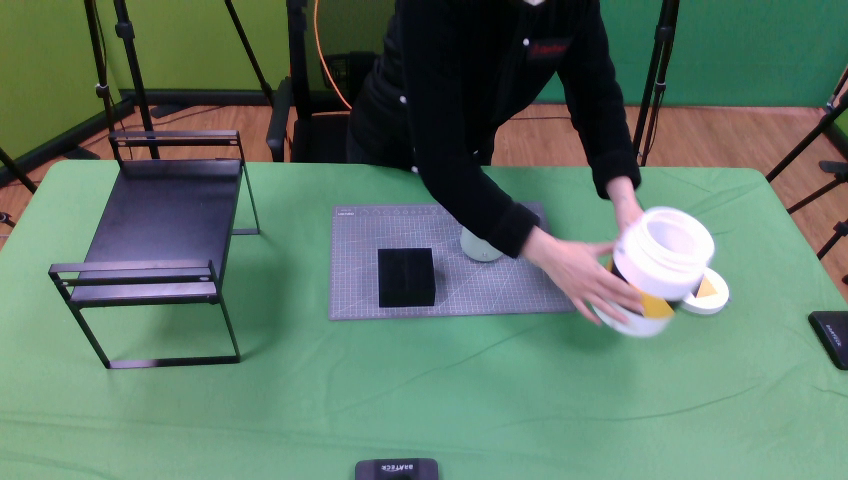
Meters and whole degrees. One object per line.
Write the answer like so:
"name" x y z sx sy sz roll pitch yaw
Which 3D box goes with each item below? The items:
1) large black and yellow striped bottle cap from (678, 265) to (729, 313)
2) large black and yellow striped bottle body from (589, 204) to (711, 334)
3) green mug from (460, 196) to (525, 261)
"large black and yellow striped bottle cap" 0.519 0.088 1.152 0.115 0.019 0.114 2 48 -2
"large black and yellow striped bottle body" 0.350 0.045 0.946 0.131 0.185 0.130 7 46 -7
"green mug" 0.135 -0.023 1.168 0.125 0.105 0.092 -7 47 -12
